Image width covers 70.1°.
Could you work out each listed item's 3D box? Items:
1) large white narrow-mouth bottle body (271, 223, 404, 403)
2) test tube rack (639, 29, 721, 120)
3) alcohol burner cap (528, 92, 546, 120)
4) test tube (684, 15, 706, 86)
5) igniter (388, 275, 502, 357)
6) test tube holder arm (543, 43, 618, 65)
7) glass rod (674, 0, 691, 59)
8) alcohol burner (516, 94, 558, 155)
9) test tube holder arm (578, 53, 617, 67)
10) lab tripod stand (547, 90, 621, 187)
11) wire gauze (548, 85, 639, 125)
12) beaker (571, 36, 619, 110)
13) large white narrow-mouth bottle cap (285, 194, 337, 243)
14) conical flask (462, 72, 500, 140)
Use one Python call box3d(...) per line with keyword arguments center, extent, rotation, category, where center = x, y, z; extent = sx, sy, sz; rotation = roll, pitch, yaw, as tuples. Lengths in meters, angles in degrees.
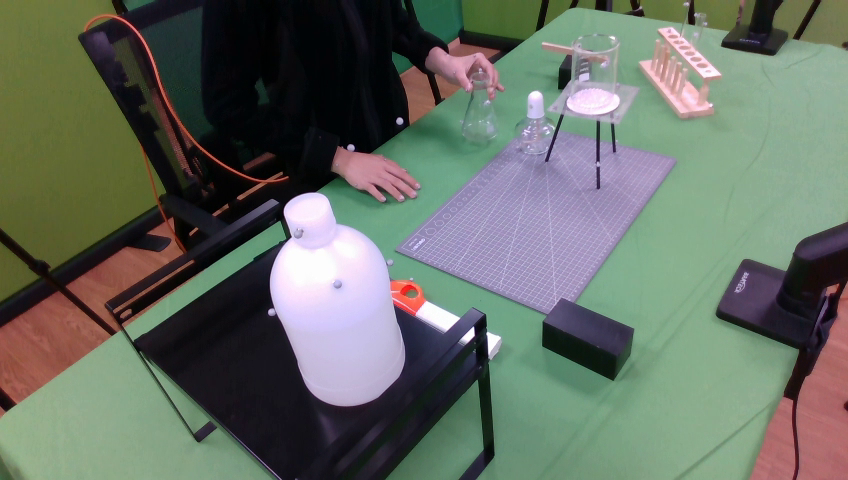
box3d(center=(-0.077, 0.048, 0.525), extent=(0.102, 0.195, 0.101), rotation=(-5, 41, 4), category="large white narrow-mouth bottle body")
box3d(center=(0.527, -0.351, 1.262), extent=(0.067, 0.085, 0.241), rotation=(-8, 40, 1), category="test tube rack")
box3d(center=(0.206, -0.249, 1.112), extent=(0.034, 0.048, 0.033), rotation=(-6, 35, 5), category="alcohol burner cap")
box3d(center=(0.541, -0.378, 1.215), extent=(0.017, 0.151, 0.017), rotation=(-2, 44, 3), category="test tube")
box3d(center=(-0.009, 0.093, 0.870), extent=(0.274, 0.025, 0.057), rotation=(24, 60, 33), category="igniter")
box3d(center=(0.344, -0.413, 1.341), extent=(0.177, 0.015, 0.013), rotation=(25, 50, 31), category="test tube holder arm")
box3d(center=(0.537, -0.437, 1.257), extent=(0.008, 0.200, 0.008), rotation=(0, 39, 1), category="glass rod")
box3d(center=(0.212, -0.221, 1.135), extent=(0.078, 0.119, 0.077), rotation=(-5, 42, 5), category="alcohol burner")
box3d(center=(0.376, -0.393, 1.314), extent=(0.087, 0.015, 0.010), rotation=(26, 51, 32), category="test tube holder arm")
box3d(center=(0.289, -0.184, 1.062), extent=(0.148, 0.132, 0.147), rotation=(-6, 41, 6), category="lab tripod stand")
box3d(center=(0.286, -0.233, 1.020), extent=(0.124, 0.011, 0.122), rotation=(15, 43, 30), category="wire gauze")
box3d(center=(0.281, -0.273, 0.992), extent=(0.084, 0.101, 0.073), rotation=(-24, 42, -16), category="beaker")
box3d(center=(-0.087, -0.017, 0.467), extent=(0.038, 0.024, 0.037), rotation=(-4, 40, 4), category="large white narrow-mouth bottle cap")
box3d(center=(0.110, -0.258, 1.162), extent=(0.075, 0.122, 0.075), rotation=(-2, 44, 3), category="conical flask")
